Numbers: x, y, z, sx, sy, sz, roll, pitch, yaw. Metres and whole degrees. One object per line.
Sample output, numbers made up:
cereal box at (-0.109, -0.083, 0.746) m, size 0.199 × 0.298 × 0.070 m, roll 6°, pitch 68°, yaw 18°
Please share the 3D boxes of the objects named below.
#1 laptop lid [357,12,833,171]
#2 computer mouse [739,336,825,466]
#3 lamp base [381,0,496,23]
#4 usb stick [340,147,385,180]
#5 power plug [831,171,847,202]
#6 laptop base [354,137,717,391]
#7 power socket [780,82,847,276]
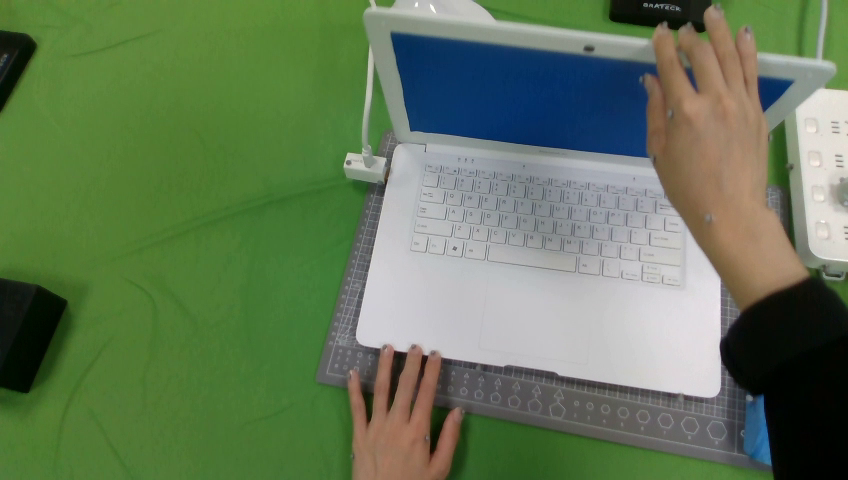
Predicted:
laptop lid at (0.129, -0.124, 0.555) m, size 0.356 × 0.243 × 0.013 m, roll 7°, pitch 78°, yaw 7°
computer mouse at (0.328, 0.144, 0.555) m, size 0.062 × 0.041 × 0.116 m, roll 12°, pitch 65°, yaw 9°
lamp base at (0.004, -0.275, 0.665) m, size 0.161 × 0.181 × 0.177 m, roll -28°, pitch 66°, yaw -9°
usb stick at (-0.061, -0.082, 0.662) m, size 0.059 × 0.027 × 0.021 m, roll 12°, pitch 64°, yaw 4°
power plug at (0.450, -0.049, 0.609) m, size 0.072 × 0.053 × 0.035 m, roll 18°, pitch 69°, yaw 8°
laptop base at (0.119, 0.016, 0.629) m, size 0.354 × 0.023 × 0.234 m, roll 7°, pitch 72°, yaw 5°
power socket at (0.426, -0.073, 0.645) m, size 0.072 × 0.033 × 0.225 m, roll 8°, pitch 68°, yaw 4°
